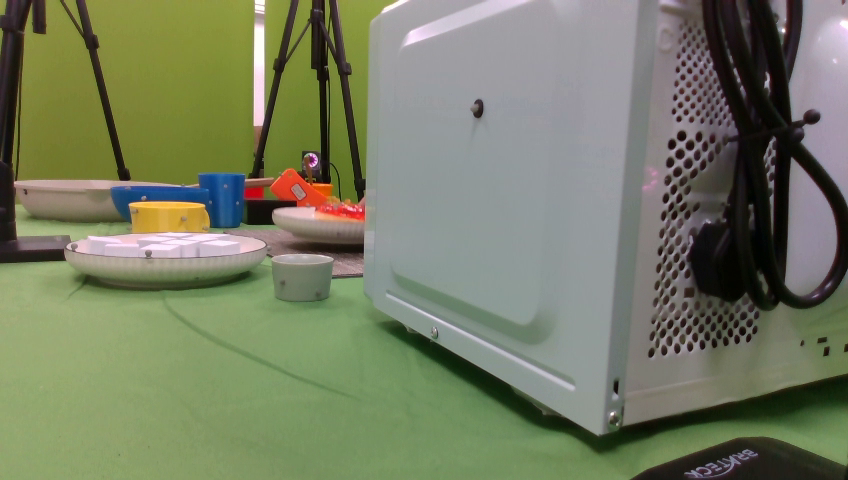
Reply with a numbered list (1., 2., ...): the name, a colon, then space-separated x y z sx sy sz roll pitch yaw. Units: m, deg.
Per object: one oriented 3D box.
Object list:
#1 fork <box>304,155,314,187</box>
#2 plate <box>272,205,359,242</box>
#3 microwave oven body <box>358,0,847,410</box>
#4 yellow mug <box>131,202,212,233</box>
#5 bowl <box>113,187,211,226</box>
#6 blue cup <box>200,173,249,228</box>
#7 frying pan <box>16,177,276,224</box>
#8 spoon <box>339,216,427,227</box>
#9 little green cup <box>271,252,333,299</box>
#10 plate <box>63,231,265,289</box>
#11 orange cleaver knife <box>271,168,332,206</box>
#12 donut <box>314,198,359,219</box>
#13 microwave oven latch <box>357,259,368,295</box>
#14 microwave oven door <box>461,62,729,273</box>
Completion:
1. fork: -0.268 -0.134 1.446 0.028 0.018 0.207 2 -36 -1
2. plate: -0.130 -0.027 0.943 0.209 0.038 0.209 3 8 0
3. microwave oven body: 0.210 -0.051 0.471 0.444 0.260 0.324 -1 7 -28
4. yellow mug: -0.356 -0.020 0.878 0.099 0.064 0.131 5 7 21
5. bowl: -0.436 -0.046 1.013 0.151 0.077 0.151 2 7 0
6. blue cup: -0.380 -0.076 1.154 0.093 0.100 0.092 0 8 0
7. frying pan: -0.553 -0.097 1.265 0.490 0.102 0.305 -10 13 -24
8. spoon: -0.087 -0.041 1.268 0.193 0.021 0.041 3 19 14
9. little green cup: -0.122 0.035 0.605 0.061 0.038 0.061 3 7 0
10. plate: -0.288 0.021 0.687 0.208 0.039 0.207 2 8 0
11. orange cleaver knife: -0.236 -0.084 1.333 0.212 0.077 0.012 31 -9 -31
12. donut: -0.123 -0.039 0.948 0.099 0.048 0.099 6 7 0
13. microwave oven latch: -0.019 0.031 0.529 0.079 0.029 0.030 -1 7 -27
14. microwave oven door: 0.203 -0.099 0.805 0.354 0.243 0.039 8 10 39
